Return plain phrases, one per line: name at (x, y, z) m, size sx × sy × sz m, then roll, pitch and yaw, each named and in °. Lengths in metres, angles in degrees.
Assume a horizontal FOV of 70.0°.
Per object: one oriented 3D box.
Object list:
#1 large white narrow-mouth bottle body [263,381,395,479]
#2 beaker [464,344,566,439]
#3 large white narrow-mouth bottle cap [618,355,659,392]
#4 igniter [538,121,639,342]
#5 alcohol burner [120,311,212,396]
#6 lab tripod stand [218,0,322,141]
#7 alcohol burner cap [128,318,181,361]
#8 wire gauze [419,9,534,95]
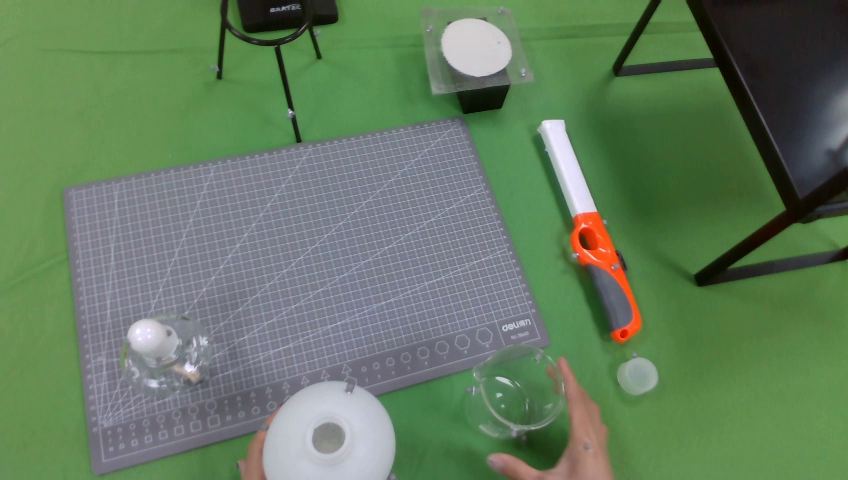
large white narrow-mouth bottle body at (-0.075, 0.167, 0.481) m, size 0.102 × 0.196 × 0.101 m, roll 3°, pitch 65°, yaw -6°
beaker at (0.076, 0.145, 0.566) m, size 0.084 × 0.101 × 0.073 m, roll 19°, pitch 65°, yaw 2°
large white narrow-mouth bottle cap at (0.223, 0.139, 0.633) m, size 0.038 × 0.024 × 0.037 m, roll 3°, pitch 65°, yaw -6°
igniter at (0.186, -0.018, 0.692) m, size 0.057 × 0.025 × 0.274 m, roll -6°, pitch 67°, yaw -22°
alcohol burner at (-0.229, 0.095, 0.532) m, size 0.078 × 0.120 × 0.077 m, roll 4°, pitch 64°, yaw -8°
lab tripod stand at (-0.161, -0.203, 0.665) m, size 0.149 × 0.132 × 0.147 m, roll 4°, pitch 66°, yaw -8°
alcohol burner cap at (-0.224, 0.081, 0.499) m, size 0.034 × 0.048 × 0.033 m, roll 2°, pitch 72°, yaw -5°
wire gauze at (0.060, -0.229, 0.723) m, size 0.122 × 0.011 × 0.124 m, roll -5°, pitch 67°, yaw -10°
